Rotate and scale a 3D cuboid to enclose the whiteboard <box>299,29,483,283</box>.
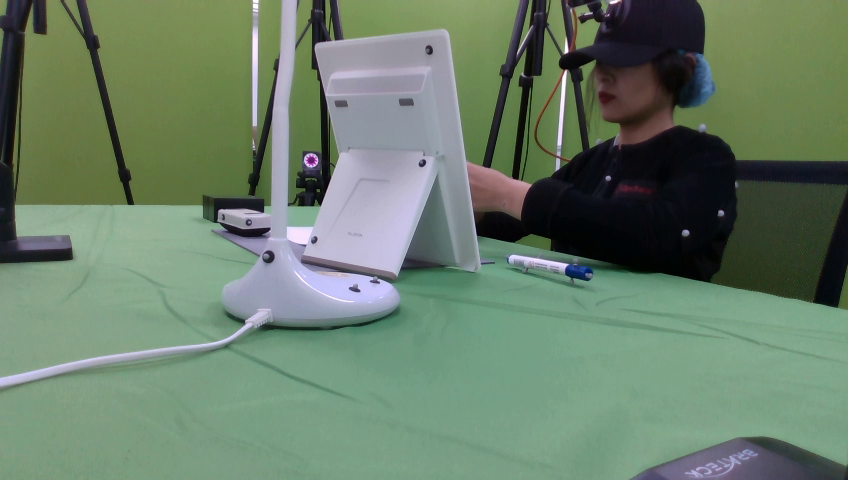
[{"bbox_3d":[-0.074,-0.082,0.742,0.216,0.305,0.144,9,29,38],"label":"whiteboard"}]

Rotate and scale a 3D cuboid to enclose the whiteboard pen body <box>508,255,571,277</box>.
[{"bbox_3d":[0.155,0.034,0.772,0.017,0.017,0.140,-2,6,-31],"label":"whiteboard pen body"}]

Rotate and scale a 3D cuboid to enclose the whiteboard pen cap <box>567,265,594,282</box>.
[{"bbox_3d":[0.186,0.040,0.722,0.018,0.018,0.033,-3,6,-33],"label":"whiteboard pen cap"}]

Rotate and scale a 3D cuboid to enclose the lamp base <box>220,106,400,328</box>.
[{"bbox_3d":[-0.101,-0.023,0.531,0.160,0.180,0.179,4,10,10],"label":"lamp base"}]

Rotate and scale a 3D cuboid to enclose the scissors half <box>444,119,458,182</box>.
[{"bbox_3d":[0.049,-0.156,1.048,0.013,0.040,0.175,11,-24,2],"label":"scissors half"}]

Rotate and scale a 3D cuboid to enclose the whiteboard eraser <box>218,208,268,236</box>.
[{"bbox_3d":[-0.309,-0.031,1.044,0.056,0.042,0.112,-2,9,-40],"label":"whiteboard eraser"}]

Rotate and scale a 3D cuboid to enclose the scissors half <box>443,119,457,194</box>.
[{"bbox_3d":[0.046,-0.140,1.038,0.013,0.175,0.040,6,51,-1],"label":"scissors half"}]
